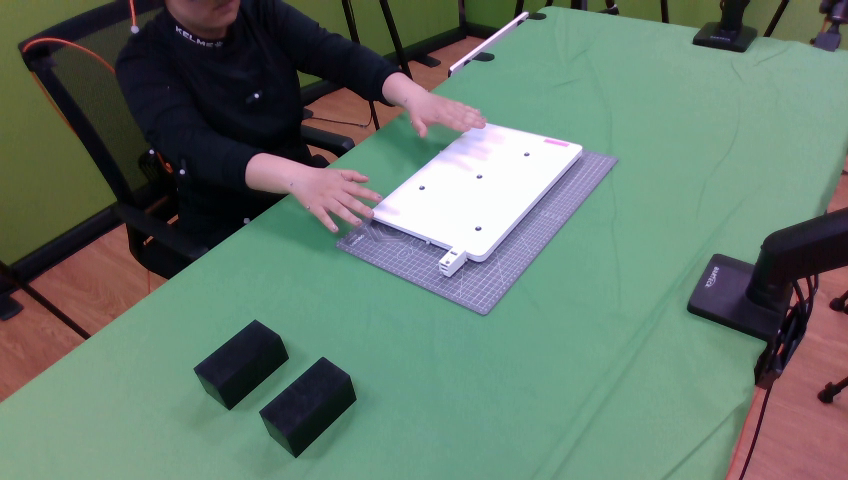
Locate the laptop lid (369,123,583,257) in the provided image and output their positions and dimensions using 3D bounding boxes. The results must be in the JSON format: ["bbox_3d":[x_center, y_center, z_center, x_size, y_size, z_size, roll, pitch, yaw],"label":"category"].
[{"bbox_3d":[0.097,-0.106,1.065,0.240,0.013,0.358,22,48,33],"label":"laptop lid"}]

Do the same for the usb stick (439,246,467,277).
[{"bbox_3d":[0.048,0.028,0.913,0.021,0.027,0.059,23,47,31],"label":"usb stick"}]

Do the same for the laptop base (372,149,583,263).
[{"bbox_3d":[0.101,-0.097,1.071,0.233,0.023,0.355,20,47,32],"label":"laptop base"}]
